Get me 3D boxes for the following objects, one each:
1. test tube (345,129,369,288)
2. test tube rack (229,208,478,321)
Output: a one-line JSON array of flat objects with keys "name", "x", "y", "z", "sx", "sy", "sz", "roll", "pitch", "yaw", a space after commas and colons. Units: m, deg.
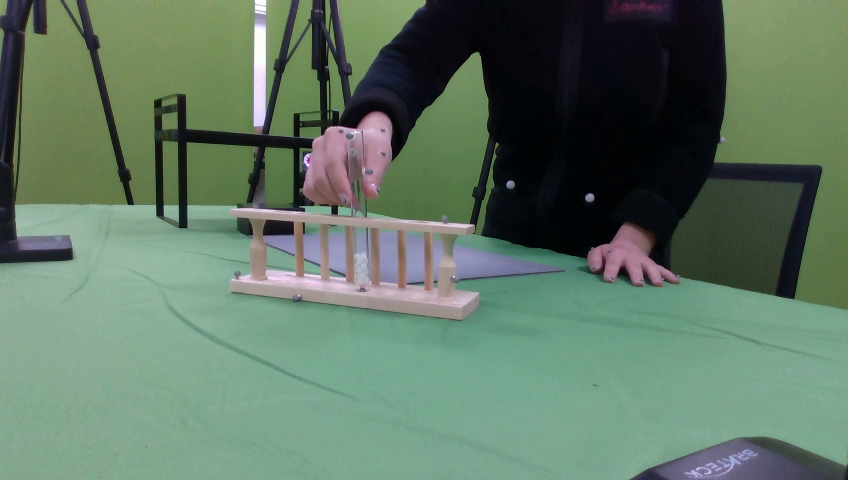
[{"name": "test tube", "x": -0.062, "y": -0.028, "z": 0.570, "sx": 0.017, "sy": 0.150, "sz": 0.017, "roll": -2, "pitch": 11, "yaw": 1}, {"name": "test tube rack", "x": -0.070, "y": 0.018, "z": 0.598, "sx": 0.242, "sy": 0.085, "sz": 0.067, "roll": 5, "pitch": 7, "yaw": 18}]
